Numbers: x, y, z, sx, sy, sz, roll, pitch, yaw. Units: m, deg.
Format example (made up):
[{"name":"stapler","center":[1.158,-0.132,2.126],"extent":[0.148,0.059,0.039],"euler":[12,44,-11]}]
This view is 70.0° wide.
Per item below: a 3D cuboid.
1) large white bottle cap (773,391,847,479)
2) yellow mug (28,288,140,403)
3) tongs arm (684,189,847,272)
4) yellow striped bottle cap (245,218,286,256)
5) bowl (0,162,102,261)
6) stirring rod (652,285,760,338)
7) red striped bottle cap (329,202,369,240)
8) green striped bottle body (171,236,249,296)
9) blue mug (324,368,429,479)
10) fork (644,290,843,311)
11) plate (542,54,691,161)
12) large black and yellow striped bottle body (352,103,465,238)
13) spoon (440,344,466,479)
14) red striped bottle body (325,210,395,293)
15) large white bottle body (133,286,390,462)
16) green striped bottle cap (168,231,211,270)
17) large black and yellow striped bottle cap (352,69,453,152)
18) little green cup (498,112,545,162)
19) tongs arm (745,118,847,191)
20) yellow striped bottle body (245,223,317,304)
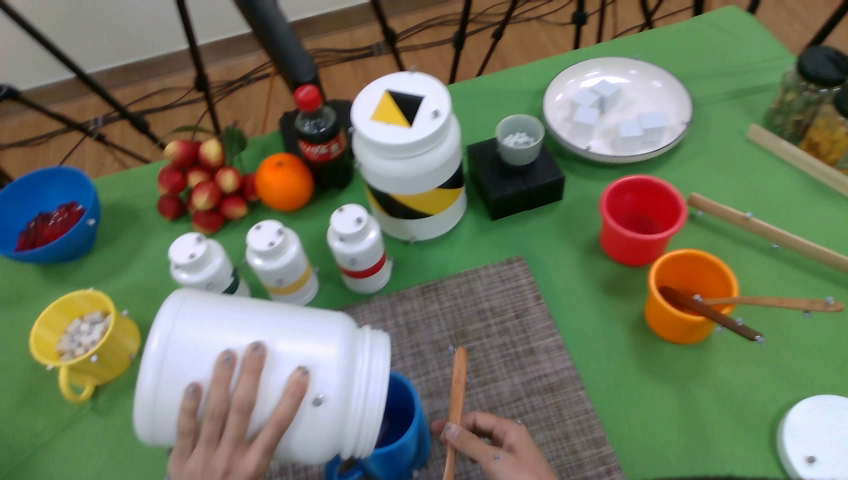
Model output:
[{"name":"large white bottle cap","center":[0.413,0.207,0.605],"extent":[0.115,0.018,0.113],"euler":[-3,55,4]},{"name":"yellow mug","center":[-0.405,0.128,0.720],"extent":[0.100,0.064,0.129],"euler":[-8,56,1]},{"name":"tongs arm","center":[0.504,0.015,0.716],"extent":[0.382,0.027,0.050],"euler":[30,60,23]},{"name":"yellow striped bottle cap","center":[-0.180,-0.004,0.688],"extent":[0.044,0.019,0.044],"euler":[-1,51,2]},{"name":"bowl","center":[-0.505,-0.025,0.829],"extent":[0.151,0.077,0.150],"euler":[-3,55,4]},{"name":"stirring rod","center":[0.291,0.072,0.639],"extent":[0.014,0.006,0.175],"euler":[-13,12,-6]},{"name":"red striped bottle cap","center":[-0.086,-0.022,0.691],"extent":[0.044,0.018,0.044],"euler":[-1,53,2]},{"name":"green striped bottle body","center":[-0.260,0.041,0.731],"extent":[0.063,0.120,0.062],"euler":[-3,55,4]},{"name":"blue mug","center":[-0.052,0.197,0.604],"extent":[0.116,0.107,0.081],"euler":[-41,60,-21]},{"name":"fork","center":[0.321,0.063,0.633],"extent":[0.028,0.019,0.206],"euler":[-52,21,-24]},{"name":"plate","center":[0.275,-0.189,0.880],"extent":[0.209,0.038,0.207],"euler":[-3,56,4]},{"name":"large black and yellow striped bottle body","center":[-0.017,-0.102,0.763],"extent":[0.131,0.186,0.129],"euler":[-3,55,5]},{"name":"spoon","center":[0.023,0.189,0.539],"extent":[0.041,0.022,0.193],"euler":[7,77,4]},{"name":"red striped bottle body","center":[-0.079,0.008,0.734],"extent":[0.063,0.121,0.062],"euler":[-7,53,10]},{"name":"large white bottle body","center":[-0.130,0.116,0.513],"extent":[0.185,0.131,0.129],"euler":[11,55,-11]},{"name":"green striped bottle cap","center":[-0.266,0.011,0.688],"extent":[0.044,0.020,0.044],"euler":[-2,55,3]},{"name":"large black and yellow striped bottle cap","center":[-0.025,-0.150,0.692],"extent":[0.115,0.019,0.114],"euler":[-4,57,7]},{"name":"little green cup","center":[0.126,-0.133,0.795],"extent":[0.061,0.039,0.061],"euler":[-2,53,3]},{"name":"tongs arm","center":[0.566,-0.041,0.751],"extent":[0.028,0.028,0.383],"euler":[-30,58,-23]},{"name":"yellow striped bottle body","center":[-0.174,0.025,0.732],"extent":[0.063,0.121,0.062],"euler":[-3,55,5]}]
